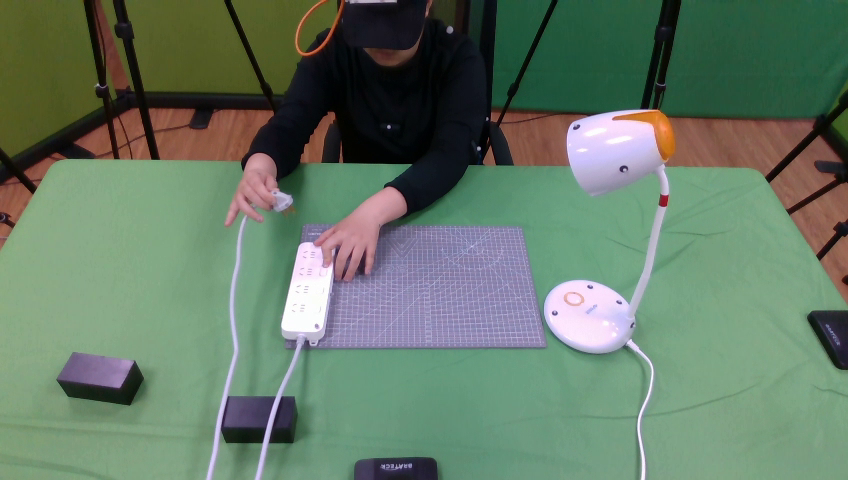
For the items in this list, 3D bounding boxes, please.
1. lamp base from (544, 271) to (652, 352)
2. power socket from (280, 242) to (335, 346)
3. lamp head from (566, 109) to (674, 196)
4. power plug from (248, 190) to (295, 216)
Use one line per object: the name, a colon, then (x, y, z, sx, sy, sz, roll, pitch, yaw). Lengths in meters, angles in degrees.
lamp base: (0.309, 0.086, 1.029, 0.178, 0.181, 0.160, 32, 52, 21)
power socket: (-0.206, 0.087, 1.087, 0.072, 0.033, 0.225, 3, 46, -1)
lamp head: (0.271, -0.123, 0.818, 0.122, 0.113, 0.112, -9, 35, 37)
power plug: (-0.262, -0.061, 1.060, 0.072, 0.053, 0.035, -12, 36, 30)
